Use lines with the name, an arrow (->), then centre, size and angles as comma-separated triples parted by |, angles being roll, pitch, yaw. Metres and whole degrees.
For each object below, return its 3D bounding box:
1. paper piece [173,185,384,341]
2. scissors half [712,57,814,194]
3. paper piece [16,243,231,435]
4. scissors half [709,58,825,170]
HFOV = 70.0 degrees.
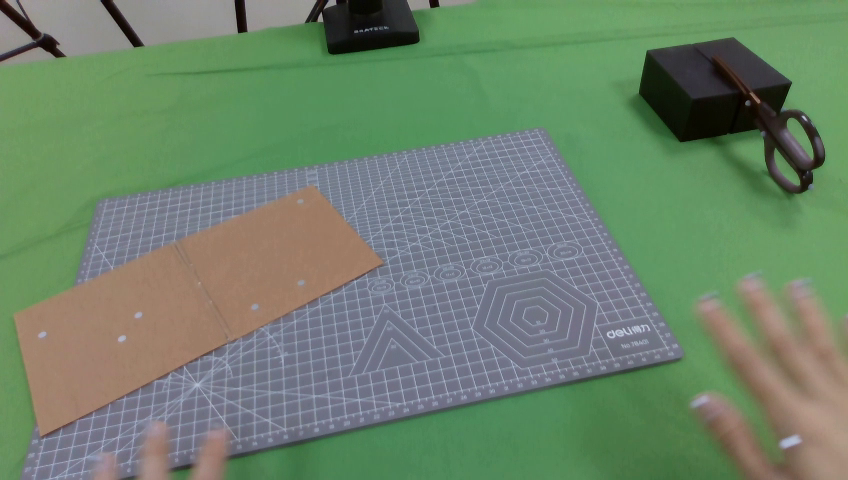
paper piece -> -0.126, 0.011, 0.520 | 0.138, 0.009, 0.134 | -26, 52, -22
scissors half -> 0.311, -0.112, 0.571 | 0.013, 0.040, 0.173 | -14, 61, -2
paper piece -> -0.237, 0.067, 0.470 | 0.136, 0.004, 0.134 | -27, 48, -21
scissors half -> 0.308, -0.125, 0.555 | 0.013, 0.040, 0.173 | -18, 44, 2
